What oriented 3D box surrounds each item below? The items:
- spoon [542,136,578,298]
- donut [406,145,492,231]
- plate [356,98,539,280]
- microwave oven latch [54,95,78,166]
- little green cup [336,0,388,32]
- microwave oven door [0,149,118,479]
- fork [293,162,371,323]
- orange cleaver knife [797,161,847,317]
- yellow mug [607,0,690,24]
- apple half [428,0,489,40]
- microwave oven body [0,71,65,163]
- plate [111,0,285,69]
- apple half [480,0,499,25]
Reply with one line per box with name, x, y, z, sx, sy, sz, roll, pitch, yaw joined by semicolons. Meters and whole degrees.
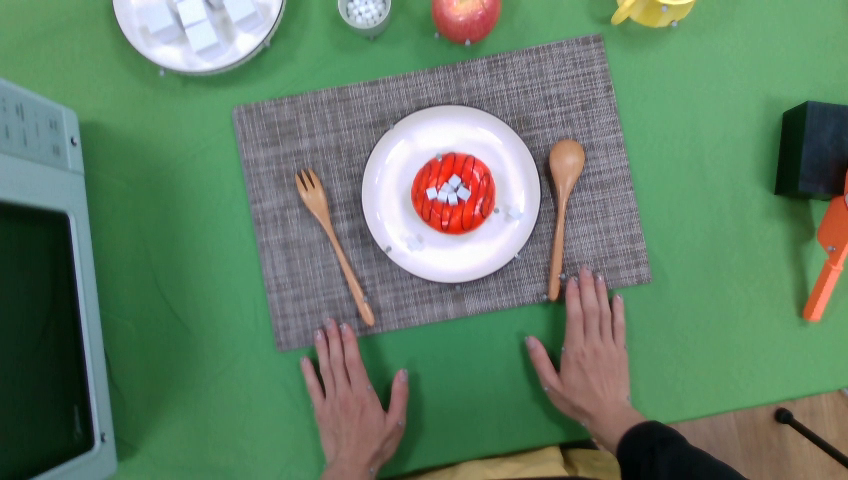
spoon;0.155;-0.029;0.710;0.041;0.021;0.193;4;88;4
donut;0.029;-0.059;0.690;0.099;0.048;0.099;0;90;3
plate;0.027;-0.058;0.701;0.209;0.038;0.209;0;88;2
microwave oven latch;-0.424;-0.125;0.701;0.030;0.029;0.079;-7;89;1
little green cup;-0.071;-0.278;0.715;0.061;0.038;0.061;0;88;2
microwave oven door;-0.399;0.087;0.592;0.039;0.244;0.355;-8;87;2
fork;-0.107;0.002;0.713;0.028;0.018;0.207;-24;87;-10
orange cleaver knife;0.453;-0.013;0.667;0.012;0.076;0.213;9;120;4
yellow mug;0.261;-0.299;0.693;0.131;0.064;0.100;-43;88;1
apple half;0.033;-0.265;0.695;0.053;0.074;0.081;-31;91;5
microwave oven body;-0.550;0.066;0.602;0.326;0.260;0.441;-8;88;1
plate;-0.263;-0.302;0.721;0.207;0.039;0.207;0;88;2
apple half;0.066;-0.286;0.694;0.033;0.081;0.081;-32;87;4
